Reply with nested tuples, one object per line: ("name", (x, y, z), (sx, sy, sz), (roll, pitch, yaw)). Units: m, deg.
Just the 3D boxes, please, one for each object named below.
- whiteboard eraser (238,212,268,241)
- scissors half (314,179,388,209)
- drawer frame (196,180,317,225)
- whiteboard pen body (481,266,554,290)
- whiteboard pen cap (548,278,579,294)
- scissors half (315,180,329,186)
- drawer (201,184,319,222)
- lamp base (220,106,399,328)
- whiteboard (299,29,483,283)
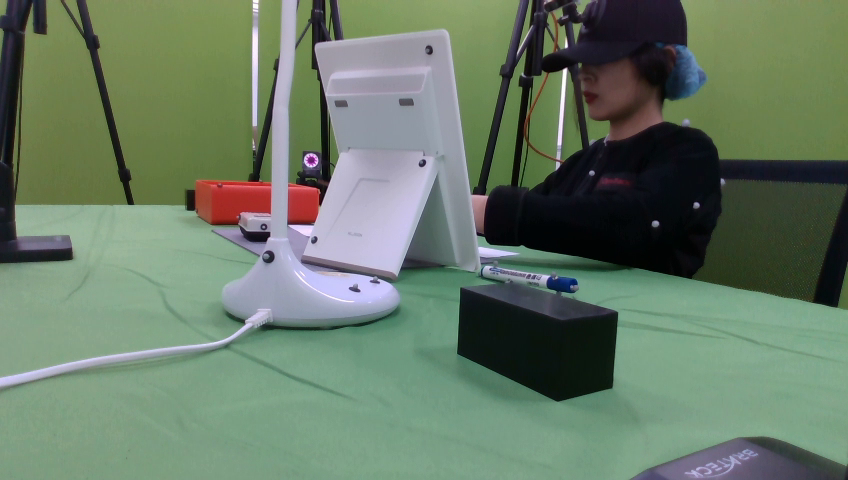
("whiteboard eraser", (-0.272, -0.024, 0.998), (0.056, 0.042, 0.112), (-2, 9, -24))
("scissors half", (-0.143, -0.089, 1.188), (0.040, 0.013, 0.176), (-6, -20, 44))
("drawer frame", (-0.359, -0.083, 1.292), (0.215, 0.082, 0.200), (-2, 10, -30))
("whiteboard pen body", (0.115, 0.044, 0.695), (0.017, 0.017, 0.140), (-3, 6, -35))
("whiteboard pen cap", (0.148, 0.049, 0.647), (0.018, 0.018, 0.033), (-3, 3, -36))
("scissors half", (-0.131, -0.090, 1.172), (0.176, 0.013, 0.040), (16, -11, -29))
("drawer", (-0.353, -0.082, 1.296), (0.213, 0.073, 0.193), (-2, 10, -28))
("lamp base", (-0.101, -0.023, 0.531), (0.160, 0.180, 0.179), (4, 10, 10))
("whiteboard", (-0.074, -0.082, 0.742), (0.216, 0.305, 0.144), (9, 29, 38))
